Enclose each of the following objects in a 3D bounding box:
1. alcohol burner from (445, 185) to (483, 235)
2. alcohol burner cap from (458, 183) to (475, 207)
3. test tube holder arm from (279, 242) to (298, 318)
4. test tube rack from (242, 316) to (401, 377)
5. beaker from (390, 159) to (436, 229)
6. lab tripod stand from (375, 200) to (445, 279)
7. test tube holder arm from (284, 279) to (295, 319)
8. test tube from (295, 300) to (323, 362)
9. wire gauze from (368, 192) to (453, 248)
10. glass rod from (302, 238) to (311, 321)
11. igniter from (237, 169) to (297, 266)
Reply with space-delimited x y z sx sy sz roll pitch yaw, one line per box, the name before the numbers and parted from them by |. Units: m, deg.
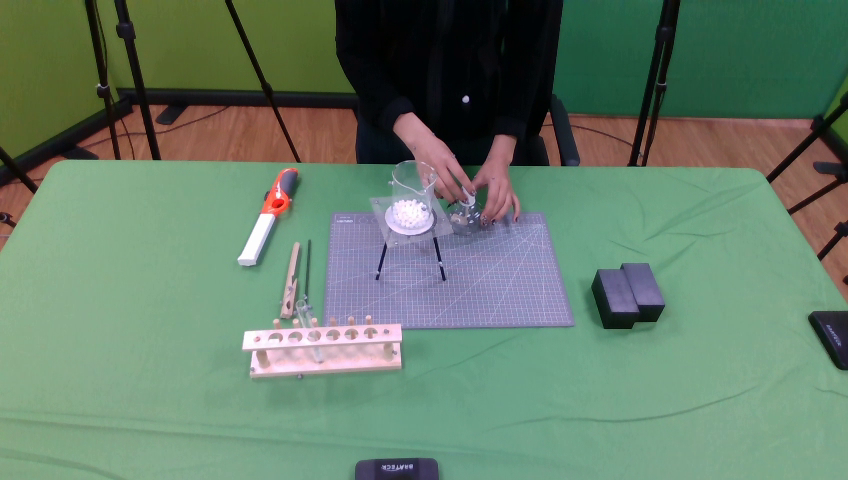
alcohol burner | 0.081 -0.066 1.203 0.078 0.120 0.077 2 48 -2
alcohol burner cap | 0.083 -0.090 1.176 0.034 0.048 0.033 -1 54 1
test tube holder arm | -0.248 0.069 1.114 0.013 0.015 0.177 25 38 -26
test tube rack | -0.161 0.166 0.983 0.242 0.085 0.066 -2 46 -6
beaker | -0.020 -0.073 1.029 0.074 0.101 0.083 -10 48 -16
lab tripod stand | -0.023 0.003 1.113 0.148 0.132 0.147 4 45 -3
test tube holder arm | -0.241 0.103 1.085 0.010 0.015 0.087 25 38 -26
test tube | -0.176 0.143 0.935 0.017 0.151 0.017 -2 46 2
wire gauze | -0.025 -0.041 1.065 0.122 0.011 0.124 -10 46 -18
glass rod | -0.218 0.069 1.125 0.008 0.008 0.198 -1 47 -5
igniter | -0.313 -0.055 1.224 0.057 0.025 0.275 1 45 10
